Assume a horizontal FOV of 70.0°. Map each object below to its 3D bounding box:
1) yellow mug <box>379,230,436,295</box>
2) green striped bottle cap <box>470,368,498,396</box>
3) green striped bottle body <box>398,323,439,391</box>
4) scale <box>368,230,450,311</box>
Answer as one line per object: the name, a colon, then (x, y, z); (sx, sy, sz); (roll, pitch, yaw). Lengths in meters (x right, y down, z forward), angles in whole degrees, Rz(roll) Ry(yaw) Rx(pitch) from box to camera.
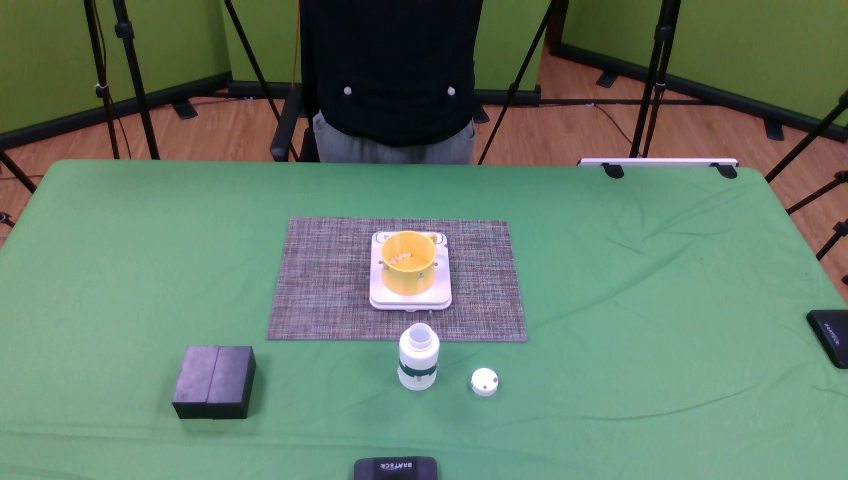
yellow mug: (-0.020, 0.030, 1.089); (0.099, 0.064, 0.130); (31, 51, 24)
green striped bottle cap: (0.098, 0.232, 0.989); (0.044, 0.020, 0.044); (2, 43, -1)
green striped bottle body: (-0.010, 0.181, 0.956); (0.063, 0.120, 0.063); (2, 46, -2)
scale: (-0.029, 0.048, 1.137); (0.149, 0.032, 0.199); (1, 46, -4)
